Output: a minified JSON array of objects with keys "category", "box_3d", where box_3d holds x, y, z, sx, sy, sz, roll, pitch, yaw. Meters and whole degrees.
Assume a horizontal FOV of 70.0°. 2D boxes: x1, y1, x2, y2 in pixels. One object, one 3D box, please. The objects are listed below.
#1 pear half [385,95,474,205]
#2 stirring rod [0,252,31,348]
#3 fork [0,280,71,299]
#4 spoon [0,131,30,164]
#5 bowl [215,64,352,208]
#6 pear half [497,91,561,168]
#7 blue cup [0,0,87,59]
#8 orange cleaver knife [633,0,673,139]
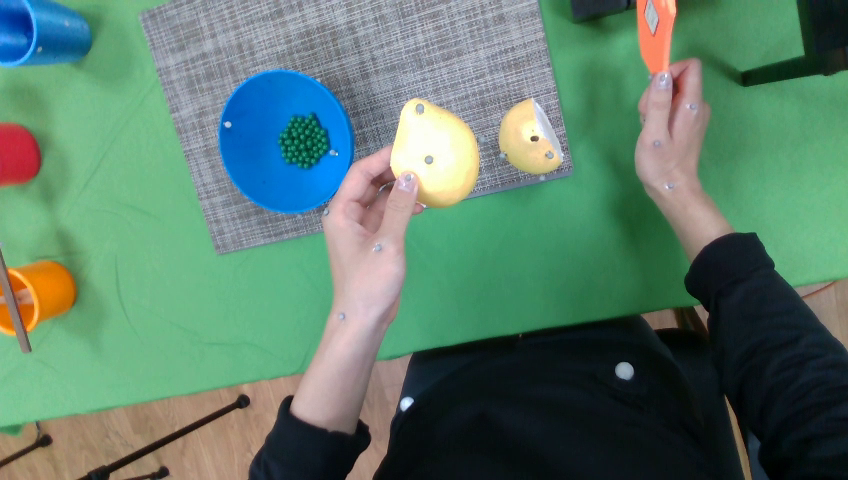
[{"category":"pear half","box_3d":[0.008,-0.067,0.459,0.070,0.031,0.089,-33,118,-13]},{"category":"stirring rod","box_3d":[-0.524,0.053,0.756,0.014,0.006,0.177,-8,102,11]},{"category":"fork","box_3d":[-0.572,0.071,0.772,0.208,0.018,0.028,-4,117,-32]},{"category":"spoon","box_3d":[-0.594,-0.103,0.740,0.194,0.021,0.042,-14,104,-29]},{"category":"bowl","box_3d":[-0.142,-0.115,0.670,0.151,0.076,0.152,3,104,12]},{"category":"pear half","box_3d":[0.100,-0.104,0.604,0.056,0.110,0.076,-32,91,18]},{"category":"blue cup","box_3d":[-0.447,-0.249,0.694,0.092,0.100,0.093,2,104,10]},{"category":"orange cleaver knife","box_3d":[0.204,-0.174,0.545,0.012,0.213,0.076,-21,57,10]}]
